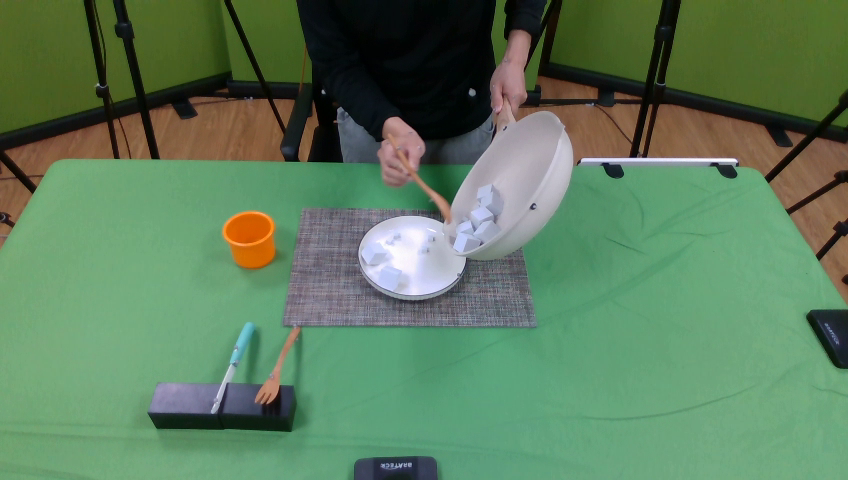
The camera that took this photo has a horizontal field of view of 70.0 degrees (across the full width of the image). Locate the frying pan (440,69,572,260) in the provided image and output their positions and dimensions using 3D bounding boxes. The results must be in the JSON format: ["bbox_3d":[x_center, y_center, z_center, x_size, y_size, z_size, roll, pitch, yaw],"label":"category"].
[{"bbox_3d":[0.151,-0.166,1.114,0.103,0.307,0.485,27,45,-27],"label":"frying pan"}]

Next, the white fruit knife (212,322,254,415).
[{"bbox_3d":[-0.298,0.193,0.947,0.016,0.027,0.206,1,31,0],"label":"white fruit knife"}]

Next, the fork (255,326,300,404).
[{"bbox_3d":[-0.226,0.192,0.955,0.028,0.019,0.206,-1,27,4],"label":"fork"}]

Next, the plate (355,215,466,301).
[{"bbox_3d":[-0.025,0.037,1.144,0.208,0.039,0.206,3,46,-2],"label":"plate"}]

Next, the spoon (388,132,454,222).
[{"bbox_3d":[-0.004,-0.108,1.056,0.194,0.021,0.041,49,22,-15],"label":"spoon"}]
